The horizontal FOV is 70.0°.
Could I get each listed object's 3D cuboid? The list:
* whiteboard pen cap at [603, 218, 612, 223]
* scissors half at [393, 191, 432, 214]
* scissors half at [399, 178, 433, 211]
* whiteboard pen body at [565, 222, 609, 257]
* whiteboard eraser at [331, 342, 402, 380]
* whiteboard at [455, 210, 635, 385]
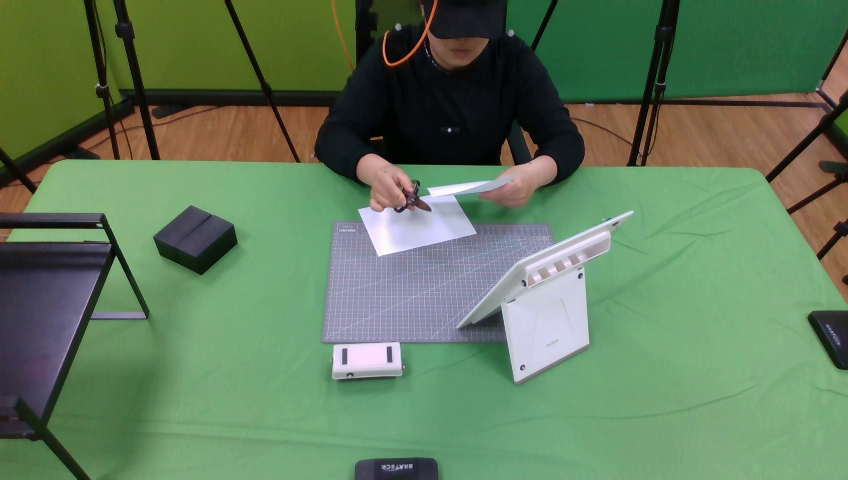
[{"bbox_3d":[0.379,-0.031,1.255,0.033,0.018,0.018,-33,57,-29],"label":"whiteboard pen cap"},{"bbox_3d":[-0.022,-0.064,1.112,0.013,0.040,0.174,22,1,-26],"label":"scissors half"},{"bbox_3d":[-0.012,-0.080,1.110,0.013,0.040,0.174,28,11,-27],"label":"scissors half"},{"bbox_3d":[0.334,-0.004,1.229,0.141,0.017,0.017,-33,56,-30],"label":"whiteboard pen body"},{"bbox_3d":[-0.094,0.198,0.986,0.113,0.042,0.055,-2,44,-6],"label":"whiteboard eraser"},{"bbox_3d":[0.211,0.111,0.955,0.217,0.306,0.143,-21,71,-23],"label":"whiteboard"}]
